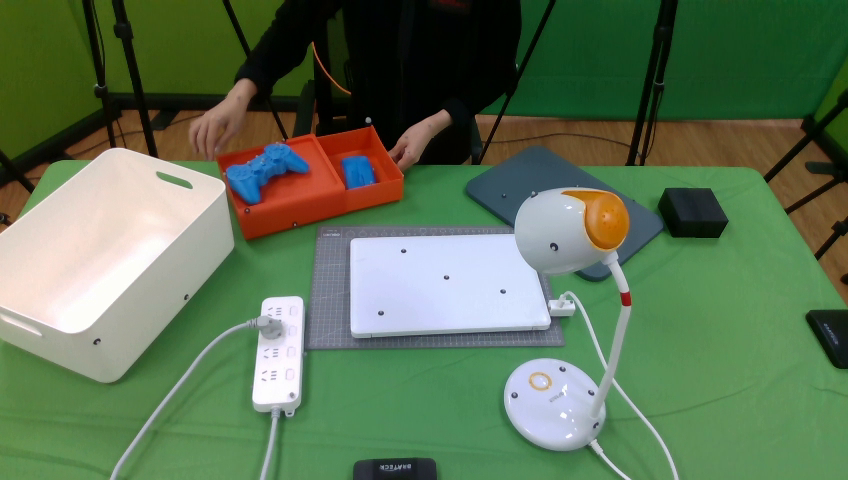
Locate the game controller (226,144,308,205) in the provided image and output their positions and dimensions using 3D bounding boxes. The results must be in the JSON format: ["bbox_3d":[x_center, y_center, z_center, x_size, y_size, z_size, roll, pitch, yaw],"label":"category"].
[{"bbox_3d":[-0.314,-0.139,1.194,0.096,0.052,0.155,30,50,27],"label":"game controller"}]

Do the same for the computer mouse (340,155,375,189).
[{"bbox_3d":[-0.143,-0.143,1.305,0.063,0.041,0.116,-8,51,-15],"label":"computer mouse"}]

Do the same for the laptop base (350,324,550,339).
[{"bbox_3d":[0.039,0.081,1.124,0.355,0.023,0.234,-2,43,-6],"label":"laptop base"}]

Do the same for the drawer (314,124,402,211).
[{"bbox_3d":[-0.176,-0.148,1.288,0.212,0.073,0.193,-16,50,-18],"label":"drawer"}]

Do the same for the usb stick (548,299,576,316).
[{"bbox_3d":[0.239,0.121,1.084,0.059,0.027,0.021,-2,52,-1],"label":"usb stick"}]

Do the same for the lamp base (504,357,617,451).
[{"bbox_3d":[0.220,0.211,0.903,0.160,0.181,0.178,-32,59,-30],"label":"lamp base"}]

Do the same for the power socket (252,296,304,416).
[{"bbox_3d":[-0.238,0.182,0.997,0.072,0.033,0.225,-3,47,-5],"label":"power socket"}]

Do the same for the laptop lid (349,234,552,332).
[{"bbox_3d":[0.040,0.071,1.117,0.357,0.013,0.240,0,44,-5],"label":"laptop lid"}]

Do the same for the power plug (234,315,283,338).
[{"bbox_3d":[-0.270,0.143,1.000,0.072,0.053,0.035,4,47,2],"label":"power plug"}]

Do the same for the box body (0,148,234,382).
[{"bbox_3d":[-0.525,0.033,1.027,0.254,0.161,0.362,18,47,13],"label":"box body"}]

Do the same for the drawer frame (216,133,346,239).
[{"bbox_3d":[-0.291,-0.115,1.244,0.214,0.083,0.200,-18,51,-20],"label":"drawer frame"}]

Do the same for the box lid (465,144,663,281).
[{"bbox_3d":[0.297,-0.072,1.298,0.263,0.015,0.369,-33,56,-31],"label":"box lid"}]

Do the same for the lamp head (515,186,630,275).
[{"bbox_3d":[0.188,-0.013,0.728,0.112,0.112,0.122,-25,9,-25],"label":"lamp head"}]
